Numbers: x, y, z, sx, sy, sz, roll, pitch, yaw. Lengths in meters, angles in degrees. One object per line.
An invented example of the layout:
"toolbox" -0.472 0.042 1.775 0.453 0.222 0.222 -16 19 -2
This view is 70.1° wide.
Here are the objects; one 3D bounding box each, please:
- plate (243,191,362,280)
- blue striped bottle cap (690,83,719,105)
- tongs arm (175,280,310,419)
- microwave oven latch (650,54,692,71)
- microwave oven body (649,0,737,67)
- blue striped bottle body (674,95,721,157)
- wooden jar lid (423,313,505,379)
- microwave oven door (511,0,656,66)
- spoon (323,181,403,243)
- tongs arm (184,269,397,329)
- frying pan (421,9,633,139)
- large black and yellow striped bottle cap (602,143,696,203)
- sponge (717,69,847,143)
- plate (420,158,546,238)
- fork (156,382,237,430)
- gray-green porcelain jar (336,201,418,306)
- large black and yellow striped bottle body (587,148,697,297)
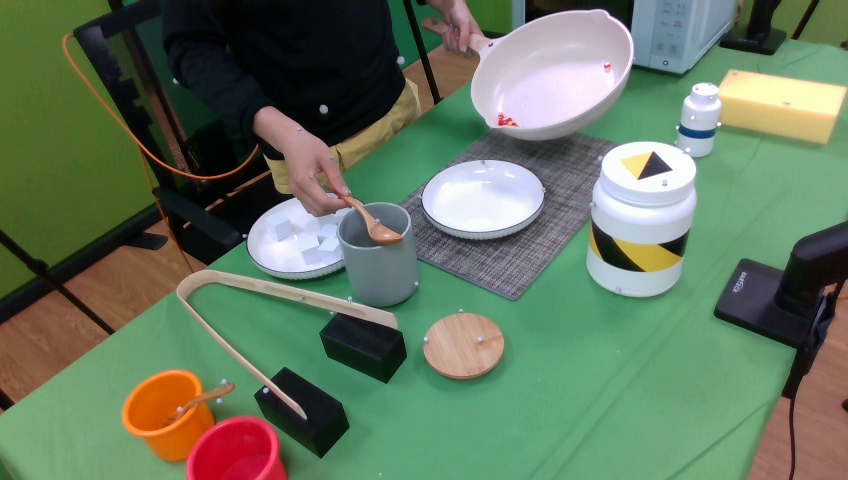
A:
"plate" -0.187 -0.005 0.992 0.207 0.039 0.206 -4 41 4
"blue striped bottle cap" 0.481 -0.251 1.038 0.044 0.021 0.044 -5 40 5
"tongs arm" -0.254 0.133 0.801 0.028 0.028 0.384 -41 41 -23
"microwave oven latch" 0.530 -0.386 1.301 0.078 0.029 0.030 23 50 32
"microwave oven body" 0.475 -0.602 1.411 0.438 0.261 0.327 23 50 32
"blue striped bottle body" 0.486 -0.213 1.071 0.063 0.121 0.063 -4 41 4
"wooden jar lid" 0.053 0.142 0.800 0.108 0.021 0.108 -4 39 4
"microwave oven door" 0.351 -0.539 1.349 0.353 0.245 0.039 24 50 31
"spoon" -0.090 -0.043 0.838 0.042 0.021 0.192 -10 38 -36
"tongs arm" -0.203 0.085 0.847 0.382 0.027 0.051 11 45 34
"frying pan" 0.163 -0.348 1.151 0.307 0.103 0.484 -45 57 -10
"large black and yellow striped bottle cap" 0.289 -0.088 0.779 0.115 0.019 0.114 -5 39 4
"sponge" 0.663 -0.256 1.142 0.205 0.061 0.118 19 47 28
"plate" 0.099 -0.067 1.017 0.209 0.038 0.208 -4 40 4
"fork" -0.262 0.189 0.690 0.018 0.206 0.028 49 43 -7
"gray-green porcelain jar" -0.064 0.024 0.872 0.106 0.127 0.105 -4 41 4
"large black and yellow striped bottle body" 0.298 -0.026 0.835 0.131 0.185 0.130 -4 41 4
